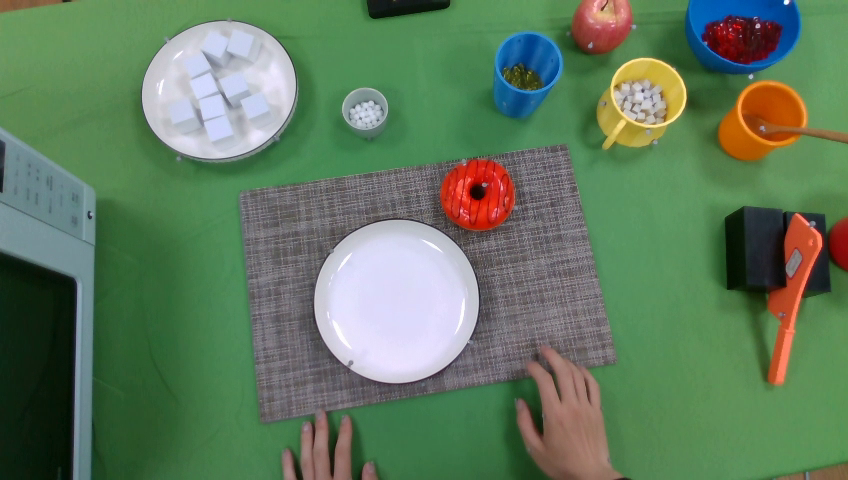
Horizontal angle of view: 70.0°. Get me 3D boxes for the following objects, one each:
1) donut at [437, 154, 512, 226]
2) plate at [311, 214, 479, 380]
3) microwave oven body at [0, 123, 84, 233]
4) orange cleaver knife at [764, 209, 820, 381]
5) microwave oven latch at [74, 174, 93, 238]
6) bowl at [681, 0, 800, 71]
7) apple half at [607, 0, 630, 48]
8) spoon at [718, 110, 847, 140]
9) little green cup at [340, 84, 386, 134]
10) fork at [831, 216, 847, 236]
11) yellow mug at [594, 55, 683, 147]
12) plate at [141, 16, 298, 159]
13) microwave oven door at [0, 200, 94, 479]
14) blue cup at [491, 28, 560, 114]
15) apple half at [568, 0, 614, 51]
[{"bbox_3d":[0.066,-0.065,0.792,0.099,0.048,0.098,0,79,0],"label":"donut"},{"bbox_3d":[-0.036,0.071,0.761,0.209,0.038,0.208,0,77,-1],"label":"plate"},{"bbox_3d":[-0.566,0.121,0.627,0.326,0.261,0.439,-6,77,-3],"label":"microwave oven body"},{"bbox_3d":[0.445,0.069,0.750,0.012,0.077,0.212,6,106,3],"label":"orange cleaver knife"},{"bbox_3d":[-0.438,-0.042,0.766,0.030,0.029,0.079,-5,77,-2],"label":"microwave oven latch"},{"bbox_3d":[0.420,-0.292,0.837,0.151,0.077,0.150,0,77,0],"label":"bowl"},{"bbox_3d":[0.267,-0.306,0.839,0.033,0.081,0.081,-4,76,2],"label":"apple half"},{"bbox_3d":[0.467,-0.141,0.766,0.041,0.192,0.022,-51,126,-11],"label":"spoon"},{"bbox_3d":[-0.081,-0.175,0.822,0.061,0.039,0.061,0,76,0],"label":"little green cup"},{"bbox_3d":[0.606,0.011,0.733,0.028,0.019,0.205,-37,37,-19],"label":"fork"},{"bbox_3d":[0.277,-0.177,0.814,0.099,0.064,0.130,38,80,8],"label":"yellow mug"},{"bbox_3d":[-0.273,-0.205,0.826,0.208,0.039,0.206,0,77,-1],"label":"plate"},{"bbox_3d":[-0.416,0.145,0.618,0.039,0.245,0.354,-6,77,-2],"label":"microwave oven door"},{"bbox_3d":[0.126,-0.215,0.803,0.093,0.100,0.092,0,78,-2],"label":"blue cup"},{"bbox_3d":[0.227,-0.303,0.839,0.053,0.075,0.080,-4,80,2],"label":"apple half"}]
